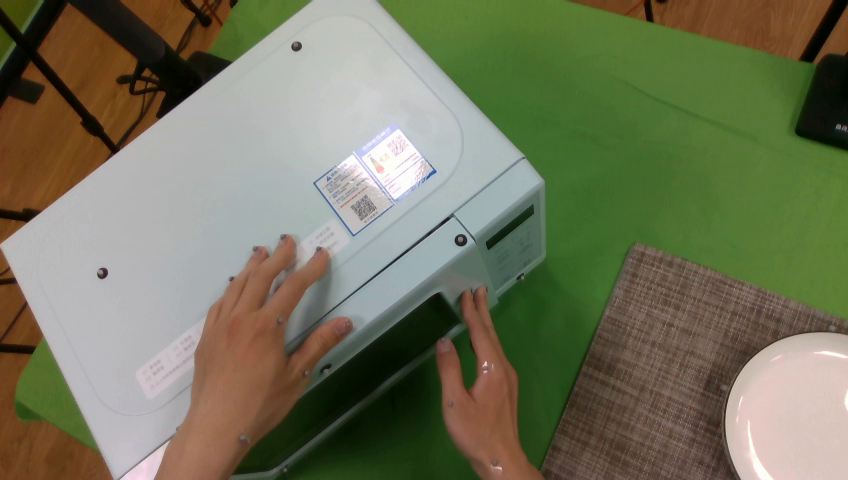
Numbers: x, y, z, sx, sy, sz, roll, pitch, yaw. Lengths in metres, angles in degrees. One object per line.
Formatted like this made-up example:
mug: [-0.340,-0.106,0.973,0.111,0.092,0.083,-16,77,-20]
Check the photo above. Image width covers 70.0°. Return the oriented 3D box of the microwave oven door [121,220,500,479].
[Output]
microwave oven door: [-0.082,0.131,0.607,0.356,0.245,0.039,-38,69,-2]

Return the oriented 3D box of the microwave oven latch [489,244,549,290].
microwave oven latch: [0.109,0.024,0.710,0.079,0.030,0.030,-37,70,-1]

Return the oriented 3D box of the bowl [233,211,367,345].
bowl: [-0.128,0.052,0.685,0.151,0.077,0.150,-4,68,11]

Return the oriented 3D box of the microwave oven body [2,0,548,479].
microwave oven body: [-0.136,-0.001,0.664,0.441,0.262,0.323,-39,70,-1]

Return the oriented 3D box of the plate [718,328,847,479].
plate: [0.406,0.195,0.613,0.207,0.039,0.206,-3,73,10]
